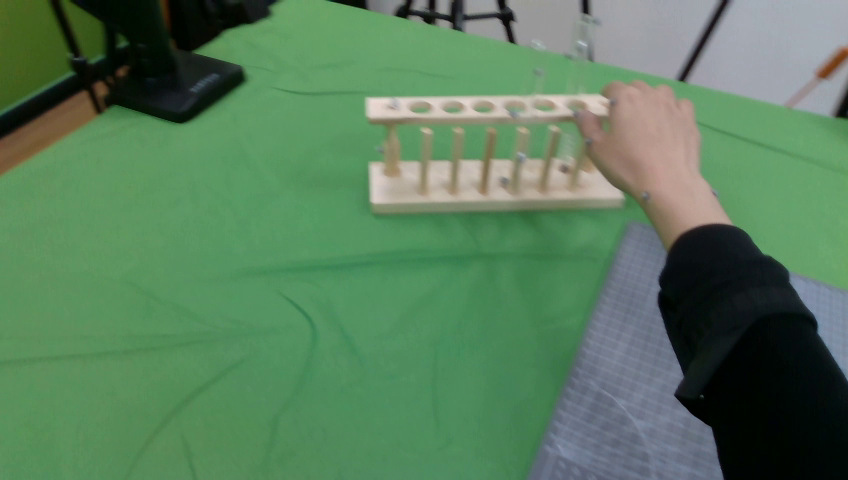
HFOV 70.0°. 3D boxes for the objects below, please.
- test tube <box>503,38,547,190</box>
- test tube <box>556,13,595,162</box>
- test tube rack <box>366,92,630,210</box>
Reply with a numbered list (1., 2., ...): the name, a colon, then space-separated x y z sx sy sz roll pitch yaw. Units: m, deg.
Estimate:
1. test tube: 0.088 -0.105 0.533 0.017 0.152 0.017 2 44 -2
2. test tube: 0.138 -0.134 0.558 0.017 0.151 0.017 -1 45 1
3. test tube rack: 0.068 -0.085 0.575 0.243 0.086 0.066 -2 44 -5
